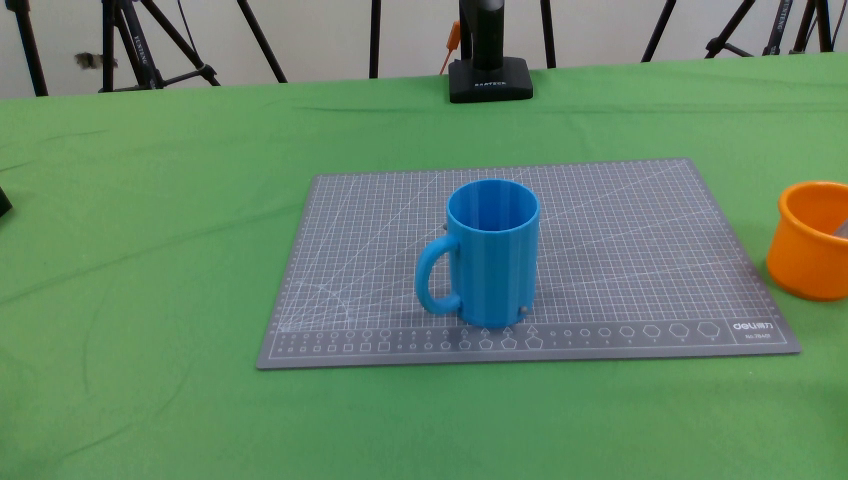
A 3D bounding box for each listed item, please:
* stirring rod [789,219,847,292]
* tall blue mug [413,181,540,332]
[{"bbox_3d":[0.380,-0.025,0.519,0.176,0.006,0.014,-52,38,11],"label":"stirring rod"},{"bbox_3d":[0.049,0.024,0.512,0.077,0.109,0.107,20,45,26],"label":"tall blue mug"}]
